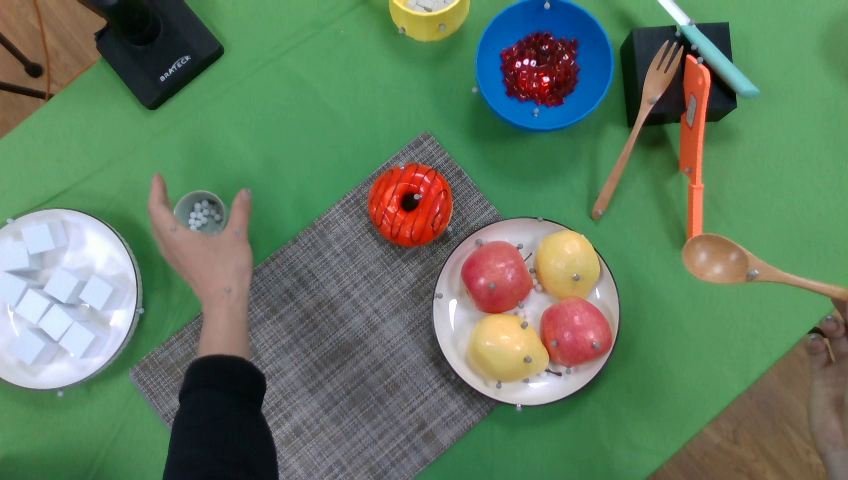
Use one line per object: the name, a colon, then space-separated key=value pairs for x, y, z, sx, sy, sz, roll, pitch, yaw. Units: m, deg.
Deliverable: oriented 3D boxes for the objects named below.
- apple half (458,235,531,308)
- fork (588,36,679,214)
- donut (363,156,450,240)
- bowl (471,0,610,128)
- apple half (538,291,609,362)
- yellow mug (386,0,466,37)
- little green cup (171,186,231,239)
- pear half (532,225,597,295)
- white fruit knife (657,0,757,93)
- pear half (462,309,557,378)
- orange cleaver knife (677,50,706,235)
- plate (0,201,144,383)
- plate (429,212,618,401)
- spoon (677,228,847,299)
apple half: x=0.077 y=0.036 z=0.667 sx=0.074 sy=0.053 sz=0.080 roll=-22 pitch=87 yaw=0
fork: x=0.229 y=-0.123 z=0.677 sx=0.028 sy=0.018 sz=0.208 roll=19 pitch=105 yaw=-4
donut: x=-0.020 y=-0.047 z=0.694 sx=0.099 sy=0.048 sz=0.099 roll=0 pitch=86 yaw=4
bowl: x=0.127 y=-0.193 z=0.692 sx=0.151 sy=0.077 sz=0.151 roll=0 pitch=84 yaw=2
apple half: x=0.157 y=0.097 z=0.658 sx=0.081 sy=0.033 sz=0.081 roll=2 pitch=97 yaw=22
yellow mug: x=-0.014 y=-0.306 z=0.715 sx=0.131 sy=0.064 sz=0.100 roll=17 pitch=85 yaw=5
little green cup: x=-0.257 y=-0.029 z=0.706 sx=0.061 sy=0.039 sz=0.061 roll=0 pitch=83 yaw=3
pear half: x=0.153 y=0.029 z=0.669 sx=0.070 sy=0.031 sz=0.088 roll=-10 pitch=94 yaw=24
white fruit knife: x=0.292 y=-0.240 z=0.674 sx=0.027 sy=0.016 sz=0.206 roll=-34 pitch=81 yaw=-31
pear half: x=0.100 y=0.119 z=0.662 sx=0.110 sy=0.056 sz=0.076 roll=23 pitch=89 yaw=-4
orange cleaver knife: x=0.294 y=-0.101 z=0.675 sx=0.012 sy=0.077 sz=0.212 roll=-4 pitch=109 yaw=6
plate: x=-0.423 y=0.059 z=0.701 sx=0.207 sy=0.039 sz=0.207 roll=0 pitch=84 yaw=2
plate: x=0.109 y=0.073 z=0.680 sx=0.209 sy=0.038 sz=0.208 roll=0 pitch=84 yaw=2
spoon: x=0.304 y=0.032 z=0.486 sx=0.192 sy=0.022 sz=0.041 roll=18 pitch=81 yaw=22
